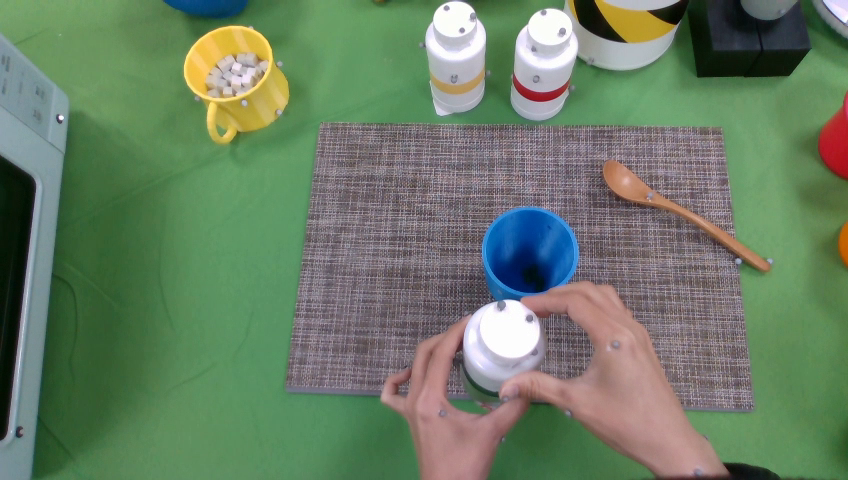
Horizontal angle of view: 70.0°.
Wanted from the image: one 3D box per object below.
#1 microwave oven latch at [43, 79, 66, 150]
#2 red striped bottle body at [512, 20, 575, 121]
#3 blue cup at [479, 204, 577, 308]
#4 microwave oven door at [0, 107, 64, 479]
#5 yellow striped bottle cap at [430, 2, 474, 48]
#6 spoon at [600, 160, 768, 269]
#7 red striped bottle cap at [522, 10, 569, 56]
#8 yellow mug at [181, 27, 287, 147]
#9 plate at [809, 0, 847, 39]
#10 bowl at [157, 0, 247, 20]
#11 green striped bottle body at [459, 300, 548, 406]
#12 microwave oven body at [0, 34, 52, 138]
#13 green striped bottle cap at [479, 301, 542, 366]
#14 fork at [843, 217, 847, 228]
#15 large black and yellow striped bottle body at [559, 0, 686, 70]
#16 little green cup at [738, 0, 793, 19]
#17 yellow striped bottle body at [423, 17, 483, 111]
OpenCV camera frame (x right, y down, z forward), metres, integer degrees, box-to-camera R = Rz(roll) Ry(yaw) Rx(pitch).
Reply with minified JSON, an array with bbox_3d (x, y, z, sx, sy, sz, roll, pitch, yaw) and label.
[{"bbox_3d":[-0.430,-0.141,0.690,0.030,0.030,0.078,-6,71,2],"label":"microwave oven latch"},{"bbox_3d":[0.125,-0.184,0.642,0.063,0.120,0.062,-3,68,7],"label":"red striped bottle body"},{"bbox_3d":[0.093,0.026,0.574,0.092,0.101,0.092,-1,69,2],"label":"blue cup"},{"bbox_3d":[-0.415,0.028,0.521,0.039,0.245,0.353,-8,70,2],"label":"microwave oven door"},{"bbox_3d":[0.028,-0.215,0.604,0.044,0.019,0.044,-1,72,3],"label":"yellow striped bottle cap"},{"bbox_3d":[0.265,-0.026,0.623,0.193,0.022,0.041,32,51,14],"label":"spoon"},{"bbox_3d":[0.119,-0.203,0.593,0.044,0.018,0.044,0,69,0],"label":"red striped bottle cap"},{"bbox_3d":[-0.219,-0.168,0.689,0.100,0.064,0.130,11,72,7],"label":"yellow mug"},{"bbox_3d":[0.538,-0.297,0.695,0.209,0.038,0.207,-1,71,4],"label":"plate"},{"bbox_3d":[-0.265,-0.326,0.743,0.151,0.077,0.150,-1,70,3],"label":"bowl"},{"bbox_3d":[0.062,0.089,0.480,0.063,0.120,0.062,0,63,0],"label":"green striped bottle body"},{"bbox_3d":[-0.564,0.010,0.544,0.326,0.262,0.438,-8,70,1],"label":"microwave oven body"},{"bbox_3d":[0.061,0.066,0.428,0.044,0.020,0.044,0,59,1],"label":"green striped bottle cap"},{"bbox_3d":[0.473,0.013,0.530,0.028,0.019,0.205,-36,28,-8],"label":"fork"},{"bbox_3d":[0.217,-0.284,0.637,0.131,0.185,0.130,-1,70,4],"label":"large black and yellow striped bottle body"},{"bbox_3d":[0.367,-0.269,0.644,0.061,0.039,0.061,-1,69,3],"label":"little green cup"},{"bbox_3d":[0.033,-0.197,0.652,0.063,0.121,0.062,-2,70,5],"label":"yellow striped bottle body"}]
